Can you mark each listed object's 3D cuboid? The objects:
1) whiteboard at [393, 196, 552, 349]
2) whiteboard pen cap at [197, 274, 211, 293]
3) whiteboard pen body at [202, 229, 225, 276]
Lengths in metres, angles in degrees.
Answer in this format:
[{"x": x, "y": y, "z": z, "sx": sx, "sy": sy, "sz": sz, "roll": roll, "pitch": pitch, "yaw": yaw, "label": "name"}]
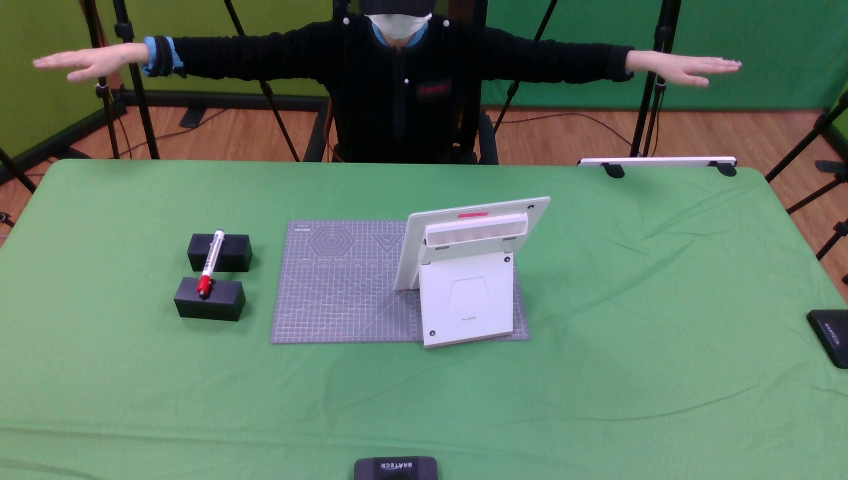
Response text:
[{"x": 0.077, "y": 0.071, "z": 0.977, "sx": 0.217, "sy": 0.306, "sz": 0.143, "roll": -7, "pitch": 66, "yaw": -11, "label": "whiteboard"}, {"x": -0.373, "y": 0.074, "z": 1.031, "sx": 0.017, "sy": 0.017, "sz": 0.032, "roll": 2, "pitch": 44, "yaw": -2, "label": "whiteboard pen cap"}, {"x": -0.374, "y": 0.032, "z": 1.071, "sx": 0.017, "sy": 0.017, "sz": 0.139, "roll": 2, "pitch": 45, "yaw": -2, "label": "whiteboard pen body"}]
